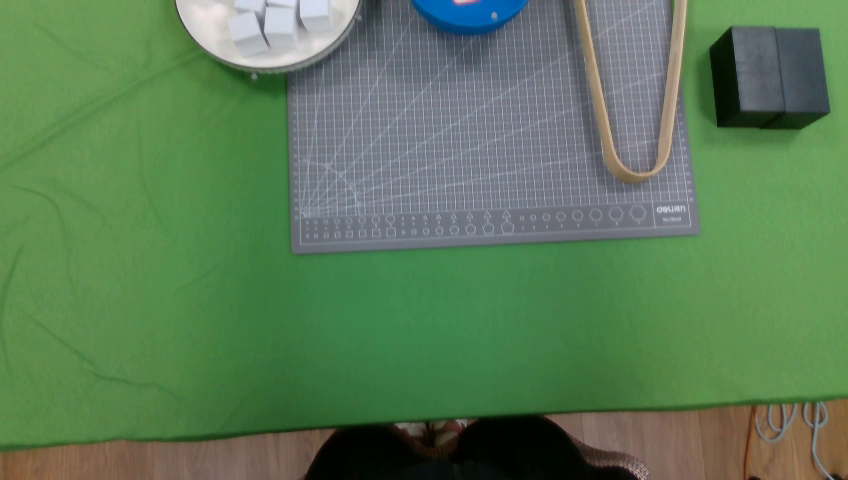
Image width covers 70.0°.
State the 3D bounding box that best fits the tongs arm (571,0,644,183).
[{"bbox_3d":[0.197,-0.253,0.696,0.051,0.026,0.383,-4,81,-7],"label":"tongs arm"}]

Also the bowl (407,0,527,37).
[{"bbox_3d":[0.044,-0.285,0.671,0.151,0.077,0.151,1,80,-2],"label":"bowl"}]

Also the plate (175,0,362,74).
[{"bbox_3d":[-0.171,-0.280,0.682,0.208,0.039,0.207,0,80,-1],"label":"plate"}]

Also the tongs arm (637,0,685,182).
[{"bbox_3d":[0.284,-0.252,0.702,0.028,0.028,0.386,11,80,-7],"label":"tongs arm"}]
